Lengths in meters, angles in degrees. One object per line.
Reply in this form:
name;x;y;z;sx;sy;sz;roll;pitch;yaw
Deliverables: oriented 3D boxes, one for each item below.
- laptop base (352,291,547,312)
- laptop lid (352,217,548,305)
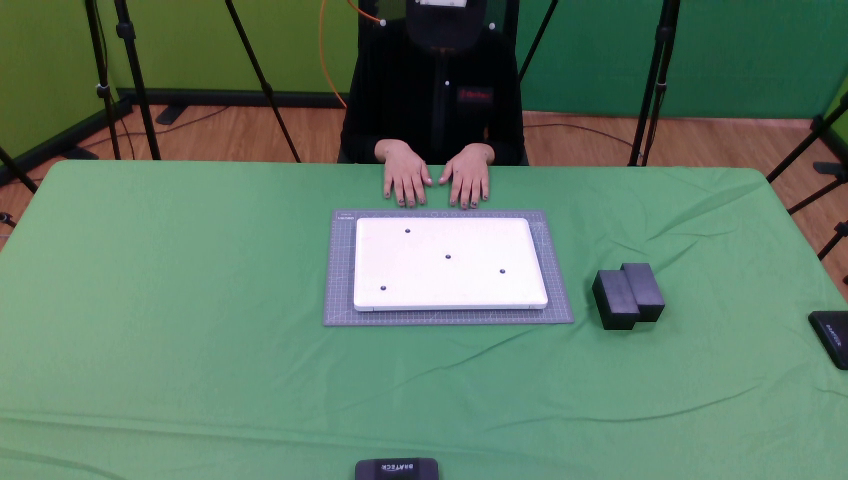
laptop base;0.043;0.044;1.162;0.355;0.023;0.234;0;43;-5
laptop lid;0.044;0.034;1.155;0.357;0.013;0.240;1;44;-3
